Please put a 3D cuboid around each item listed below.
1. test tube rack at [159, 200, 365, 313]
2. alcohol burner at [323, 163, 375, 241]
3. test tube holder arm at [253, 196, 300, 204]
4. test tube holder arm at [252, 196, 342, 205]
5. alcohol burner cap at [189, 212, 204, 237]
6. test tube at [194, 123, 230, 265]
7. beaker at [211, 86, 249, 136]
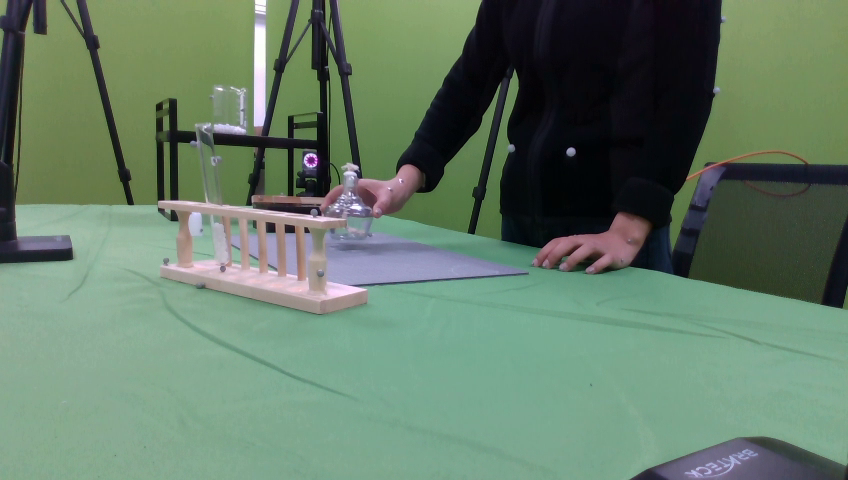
[{"bbox_3d":[-0.173,0.009,0.625,0.241,0.085,0.067,7,9,34],"label":"test tube rack"},{"bbox_3d":[-0.113,-0.059,0.922,0.078,0.119,0.078,2,2,0],"label":"alcohol burner"},{"bbox_3d":[-0.276,-0.075,1.135,0.088,0.015,0.010,-1,8,-32],"label":"test tube holder arm"},{"bbox_3d":[-0.241,-0.076,1.165,0.179,0.015,0.013,-1,8,-33],"label":"test tube holder arm"},{"bbox_3d":[-0.389,-0.029,1.026,0.034,0.048,0.034,3,8,0],"label":"alcohol burner cap"},{"bbox_3d":[-0.218,-0.045,0.624,0.017,0.150,0.017,-2,19,1],"label":"test tube"},{"bbox_3d":[-0.413,-0.274,1.297,0.074,0.100,0.083,-5,11,-44],"label":"beaker"}]
